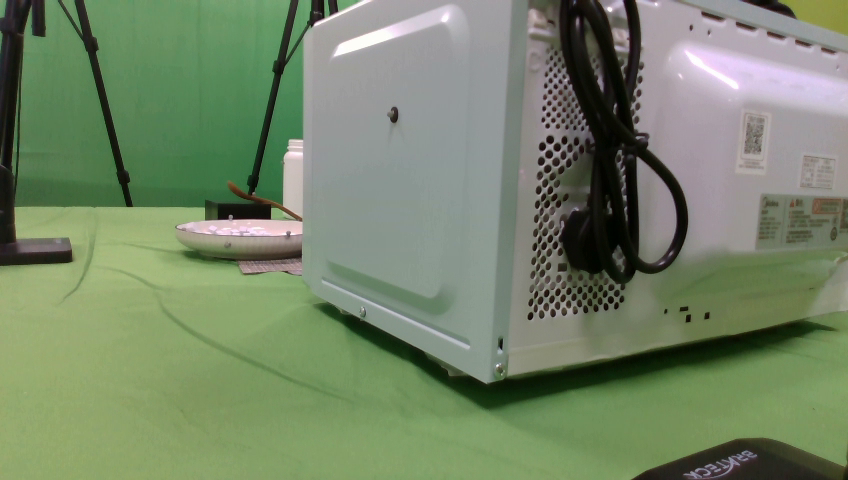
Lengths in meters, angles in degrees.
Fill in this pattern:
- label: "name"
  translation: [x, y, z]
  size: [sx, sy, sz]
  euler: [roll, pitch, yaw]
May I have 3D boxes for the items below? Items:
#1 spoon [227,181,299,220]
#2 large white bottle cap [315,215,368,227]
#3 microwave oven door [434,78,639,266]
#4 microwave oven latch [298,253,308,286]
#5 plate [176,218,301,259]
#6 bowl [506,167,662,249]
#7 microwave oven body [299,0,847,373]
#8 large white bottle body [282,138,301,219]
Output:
- label: "spoon"
  translation: [-0.315, -0.074, 1.235]
  size: [0.195, 0.021, 0.041]
  euler: [24, -10, -37]
- label: "large white bottle cap"
  translation: [-0.177, -0.041, 1.309]
  size: [0.115, 0.018, 0.115]
  euler: [2, 6, 0]
- label: "microwave oven door"
  translation: [0.146, -0.106, 0.906]
  size: [0.039, 0.243, 0.354]
  euler: [-4, 9, -40]
- label: "microwave oven latch"
  translation: [-0.081, 0.027, 0.582]
  size: [0.079, 0.029, 0.030]
  euler: [-1, 7, -32]
- label: "plate"
  translation: [-0.248, -0.003, 0.877]
  size: [0.209, 0.038, 0.209]
  euler: [1, 8, 0]
- label: "bowl"
  translation: [0.156, -0.034, 0.605]
  size: [0.151, 0.077, 0.151]
  euler: [0, 7, 0]
- label: "microwave oven body"
  translation: [0.152, -0.056, 0.542]
  size: [0.444, 0.260, 0.324]
  euler: [-2, 8, -32]
- label: "large white bottle body"
  translation: [-0.265, -0.143, 1.422]
  size: [0.131, 0.184, 0.130]
  euler: [2, 6, 0]
